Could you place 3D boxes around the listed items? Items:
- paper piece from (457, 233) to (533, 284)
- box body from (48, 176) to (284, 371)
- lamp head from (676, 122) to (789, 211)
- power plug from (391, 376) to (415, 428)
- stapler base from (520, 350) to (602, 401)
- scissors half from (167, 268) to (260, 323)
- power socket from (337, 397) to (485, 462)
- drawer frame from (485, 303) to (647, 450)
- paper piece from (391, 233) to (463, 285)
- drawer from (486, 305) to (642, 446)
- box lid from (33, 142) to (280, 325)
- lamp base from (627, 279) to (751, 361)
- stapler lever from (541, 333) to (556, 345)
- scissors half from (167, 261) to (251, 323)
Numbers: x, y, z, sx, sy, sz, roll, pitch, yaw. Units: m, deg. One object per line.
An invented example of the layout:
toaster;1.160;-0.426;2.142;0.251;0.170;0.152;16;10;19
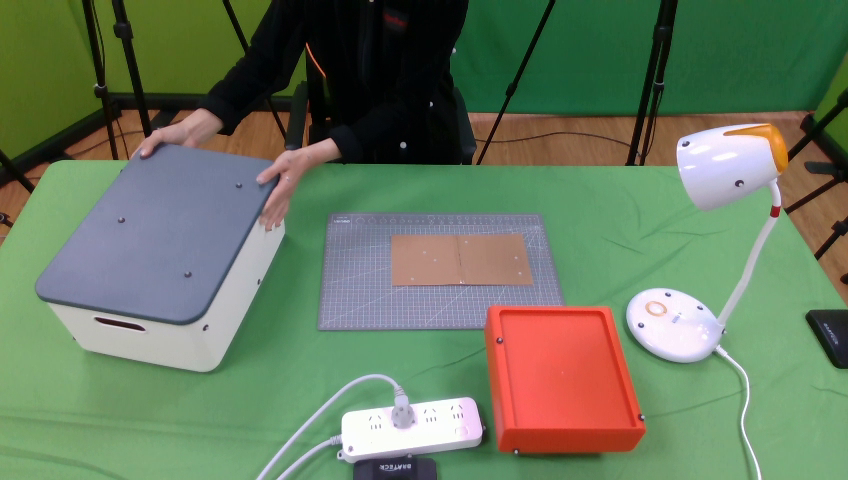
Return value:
paper piece;0.136;0.035;1.182;0.136;0.009;0.137;2;45;-6
box body;-0.414;0.027;1.040;0.254;0.161;0.362;9;46;5
lamp head;0.423;-0.104;0.819;0.122;0.113;0.112;-13;33;40
power plug;-0.031;0.249;0.917;0.035;0.053;0.072;3;46;-1
stapler base;0.216;0.202;0.942;0.130;0.024;0.041;26;33;16
scissors half;-0.369;0.100;1.069;0.175;0.013;0.040;-29;49;-21
power socket;-0.018;0.285;0.915;0.227;0.033;0.071;-4;46;-8
drawer frame;0.204;0.202;0.917;0.202;0.083;0.212;1;47;-4
paper piece;0.004;0.035;1.170;0.135;0.004;0.135;1;46;-4
drawer;0.202;0.200;0.918;0.195;0.073;0.210;2;47;-4
box lid;-0.412;-0.030;0.984;0.263;0.015;0.369;9;47;4
lamp base;0.460;0.100;1.027;0.178;0.181;0.160;27;51;17
stapler lever;0.224;0.180;0.929;0.118;0.040;0.027;27;33;15
scissors half;-0.383;0.091;1.081;0.040;0.013;0.175;23;51;33
